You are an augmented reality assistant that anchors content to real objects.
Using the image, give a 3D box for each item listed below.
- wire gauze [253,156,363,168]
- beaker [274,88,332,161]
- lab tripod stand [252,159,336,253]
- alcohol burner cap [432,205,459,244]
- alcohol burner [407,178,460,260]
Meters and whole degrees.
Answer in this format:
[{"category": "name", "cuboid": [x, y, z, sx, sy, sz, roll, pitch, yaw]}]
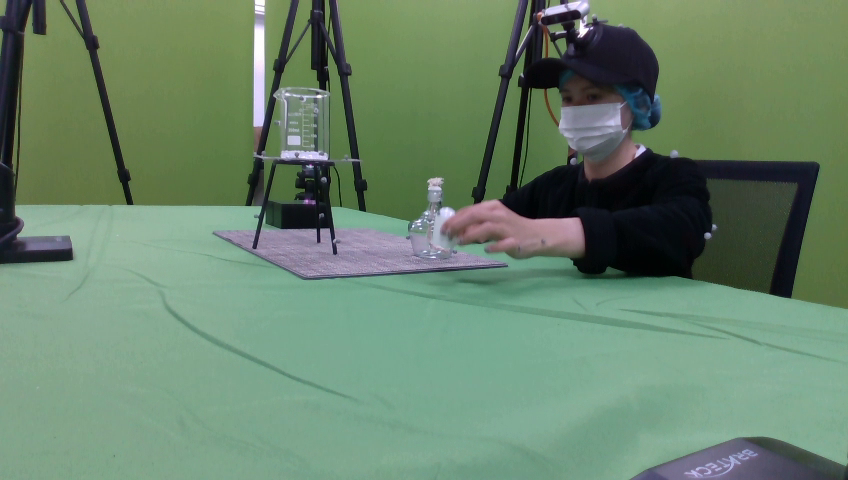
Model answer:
[{"category": "wire gauze", "cuboid": [-0.172, -0.117, 0.891, 0.122, 0.011, 0.124, 0, 3, -38]}, {"category": "beaker", "cuboid": [-0.177, -0.165, 0.879, 0.084, 0.100, 0.074, 2, 5, 1]}, {"category": "lab tripod stand", "cuboid": [-0.180, -0.053, 0.900, 0.148, 0.131, 0.148, 1, 6, 0]}, {"category": "alcohol burner cap", "cuboid": [0.028, -0.018, 0.736, 0.034, 0.048, 0.034, 5, 8, 0]}, {"category": "alcohol burner", "cuboid": [0.015, -0.032, 0.882, 0.078, 0.119, 0.078, 3, 5, 0]}]
